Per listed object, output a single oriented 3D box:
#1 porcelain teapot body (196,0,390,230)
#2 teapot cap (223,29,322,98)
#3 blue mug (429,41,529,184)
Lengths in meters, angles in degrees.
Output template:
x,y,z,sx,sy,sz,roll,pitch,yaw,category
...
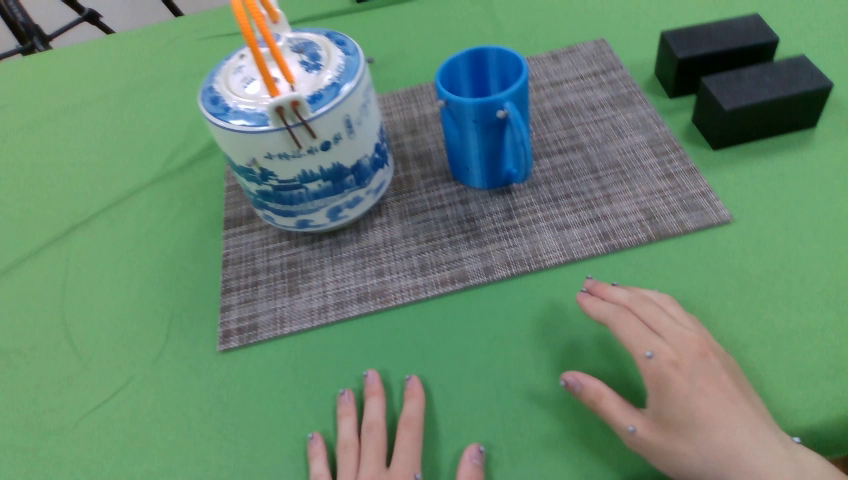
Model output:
x,y,z,sx,sy,sz,roll,pitch,yaw,category
-0.127,-0.143,0.546,0.145,0.227,0.203,-20,50,-5,porcelain teapot body
-0.126,-0.149,0.498,0.085,0.044,0.084,-5,48,5,teapot cap
0.061,-0.107,0.556,0.082,0.107,0.115,-28,51,-11,blue mug
